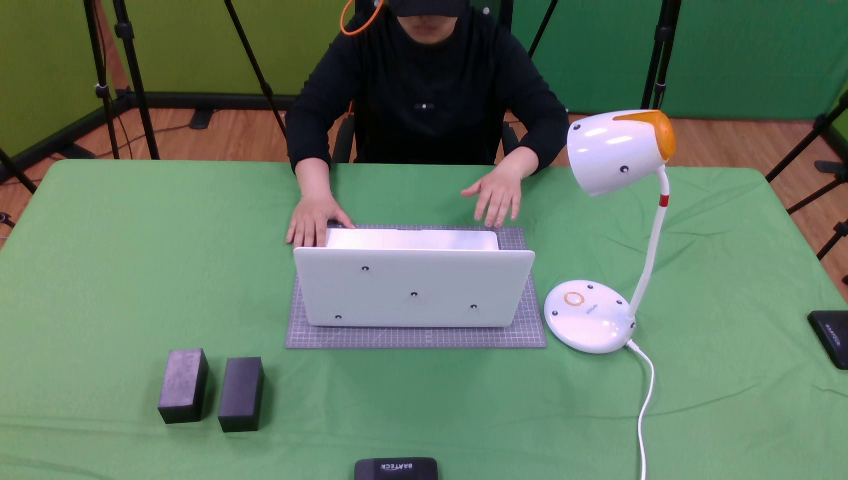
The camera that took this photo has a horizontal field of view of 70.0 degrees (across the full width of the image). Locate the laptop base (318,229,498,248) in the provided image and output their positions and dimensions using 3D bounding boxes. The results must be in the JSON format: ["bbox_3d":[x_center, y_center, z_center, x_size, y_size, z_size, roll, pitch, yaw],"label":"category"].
[{"bbox_3d":[-0.028,0.066,1.134,0.355,0.023,0.234,1,42,-4],"label":"laptop base"}]

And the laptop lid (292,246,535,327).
[{"bbox_3d":[-0.018,0.080,0.956,0.357,0.243,0.013,2,54,-5],"label":"laptop lid"}]

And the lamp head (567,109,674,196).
[{"bbox_3d":[0.272,-0.123,0.818,0.122,0.113,0.112,-9,35,37],"label":"lamp head"}]

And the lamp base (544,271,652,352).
[{"bbox_3d":[0.310,0.086,1.029,0.178,0.181,0.160,32,52,21],"label":"lamp base"}]
